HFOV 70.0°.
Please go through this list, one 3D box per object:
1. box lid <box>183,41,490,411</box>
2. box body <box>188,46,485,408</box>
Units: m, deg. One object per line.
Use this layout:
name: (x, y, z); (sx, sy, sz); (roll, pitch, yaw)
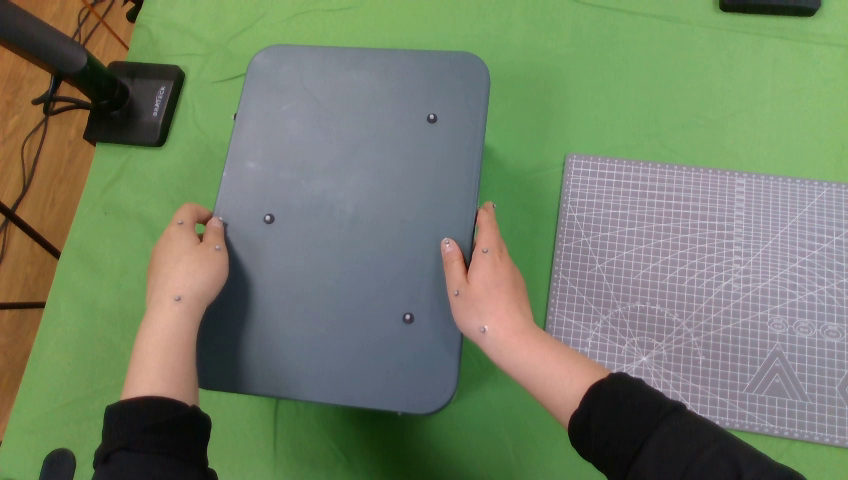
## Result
box lid: (-0.079, -0.033, 0.597); (0.263, 0.015, 0.369); (5, 75, 7)
box body: (-0.071, -0.008, 0.668); (0.254, 0.161, 0.362); (4, 74, 7)
